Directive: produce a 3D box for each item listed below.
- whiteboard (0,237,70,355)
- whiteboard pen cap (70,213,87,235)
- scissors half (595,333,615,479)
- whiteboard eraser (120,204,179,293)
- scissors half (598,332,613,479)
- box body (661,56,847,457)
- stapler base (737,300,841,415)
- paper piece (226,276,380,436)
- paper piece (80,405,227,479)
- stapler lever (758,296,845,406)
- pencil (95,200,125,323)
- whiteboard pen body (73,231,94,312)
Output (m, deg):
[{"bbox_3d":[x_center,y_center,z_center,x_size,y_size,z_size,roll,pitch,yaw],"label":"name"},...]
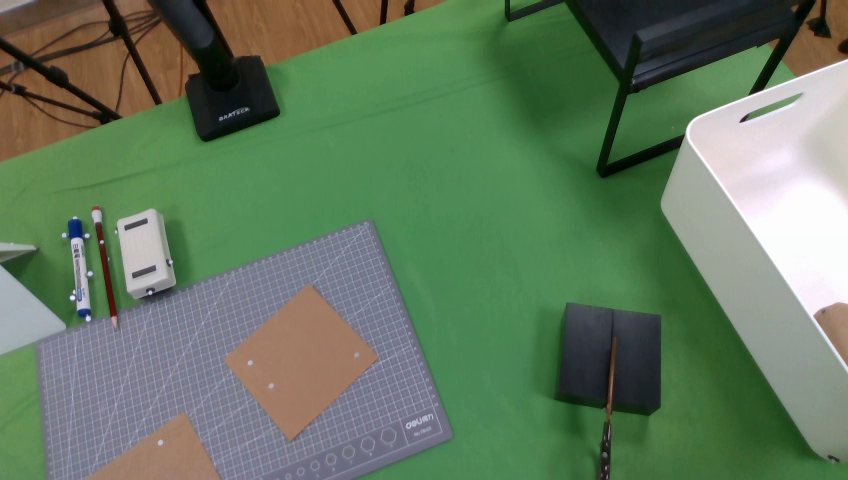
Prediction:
[{"bbox_3d":[-0.598,0.003,0.699,0.217,0.309,0.142,-21,45,-3],"label":"whiteboard"},{"bbox_3d":[-0.467,-0.020,0.820,0.018,0.018,0.033,-22,64,-4],"label":"whiteboard pen cap"},{"bbox_3d":[0.188,0.184,0.627,0.013,0.040,0.175,6,86,7],"label":"scissors half"},{"bbox_3d":[-0.353,0.011,0.782,0.055,0.042,0.111,-22,65,-3],"label":"whiteboard eraser"},{"bbox_3d":[0.185,0.178,0.608,0.013,0.040,0.174,4,69,12],"label":"scissors half"},{"bbox_3d":[0.450,0.013,0.631,0.254,0.162,0.360,-21,65,-4],"label":"box body"},{"bbox_3d":[0.397,0.122,0.658,0.041,0.024,0.129,-26,67,-3],"label":"stapler base"},{"bbox_3d":[-0.146,0.134,0.720,0.136,0.009,0.137,-43,71,-9],"label":"paper piece"},{"bbox_3d":[-0.293,0.276,0.670,0.135,0.004,0.134,-34,68,-11],"label":"paper piece"},{"bbox_3d":[0.395,0.113,0.634,0.027,0.040,0.117,-26,67,-3],"label":"stapler lever"},{"bbox_3d":[-0.413,0.026,0.798,0.012,0.012,0.192,-23,65,-5],"label":"pencil"},{"bbox_3d":[-0.449,0.030,0.796,0.017,0.017,0.139,-20,64,-3],"label":"whiteboard pen body"}]
